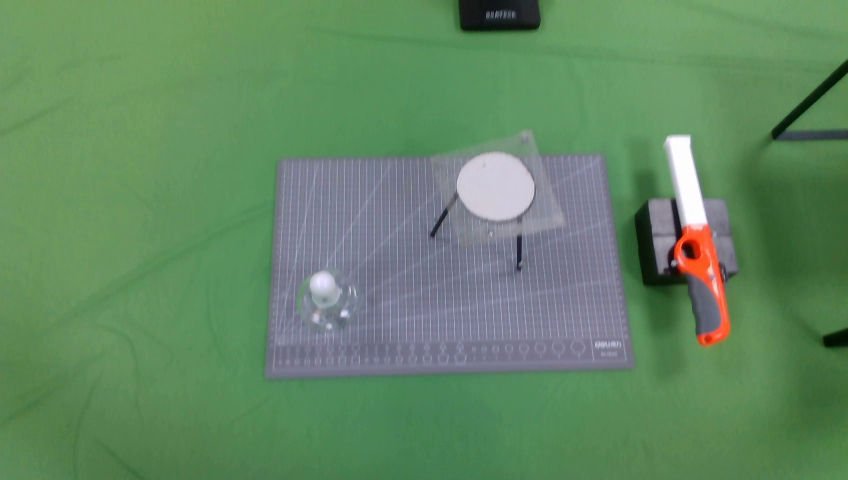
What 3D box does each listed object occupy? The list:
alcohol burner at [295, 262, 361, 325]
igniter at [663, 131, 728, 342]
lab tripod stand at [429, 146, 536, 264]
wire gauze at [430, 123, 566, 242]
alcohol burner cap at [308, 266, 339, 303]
[{"bbox_3d":[-0.113,0.058,0.705,0.078,0.119,0.077,1,72,-3],"label":"alcohol burner"},{"bbox_3d":[0.331,-0.011,0.744,0.057,0.025,0.274,-1,69,0],"label":"igniter"},{"bbox_3d":[0.080,-0.049,0.738,0.148,0.132,0.147,0,69,0],"label":"lab tripod stand"},{"bbox_3d":[0.081,-0.064,0.672,0.125,0.011,0.120,-14,72,-6],"label":"wire gauze"},{"bbox_3d":[-0.113,0.046,0.670,0.034,0.048,0.033,0,66,0],"label":"alcohol burner cap"}]
